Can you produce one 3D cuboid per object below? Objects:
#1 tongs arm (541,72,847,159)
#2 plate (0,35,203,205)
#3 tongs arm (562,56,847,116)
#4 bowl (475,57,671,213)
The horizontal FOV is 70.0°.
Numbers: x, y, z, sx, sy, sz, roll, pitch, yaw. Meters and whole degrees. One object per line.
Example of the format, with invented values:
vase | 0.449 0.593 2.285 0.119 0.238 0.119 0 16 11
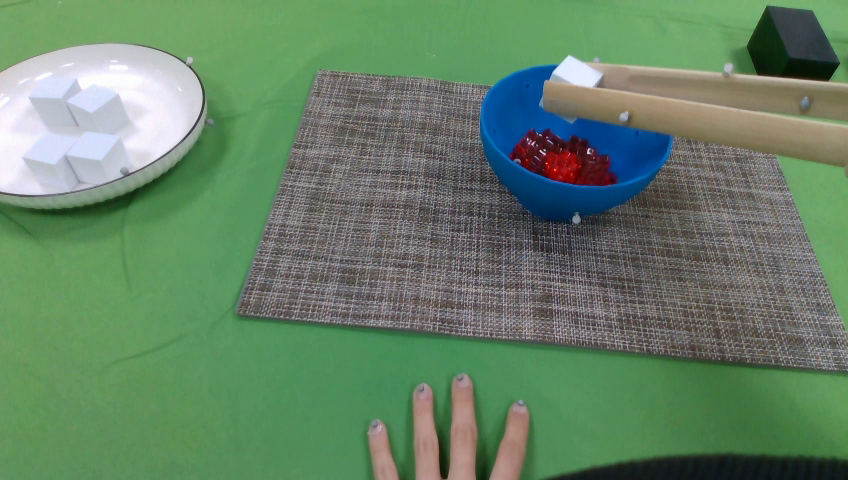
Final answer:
tongs arm | 0.241 -0.065 0.351 0.384 0.028 0.028 19 43 34
plate | -0.300 -0.105 0.531 0.209 0.038 0.207 2 52 -2
tongs arm | 0.255 -0.078 0.364 0.382 0.027 0.050 15 44 31
bowl | 0.114 -0.075 0.502 0.151 0.077 0.150 1 51 -1
